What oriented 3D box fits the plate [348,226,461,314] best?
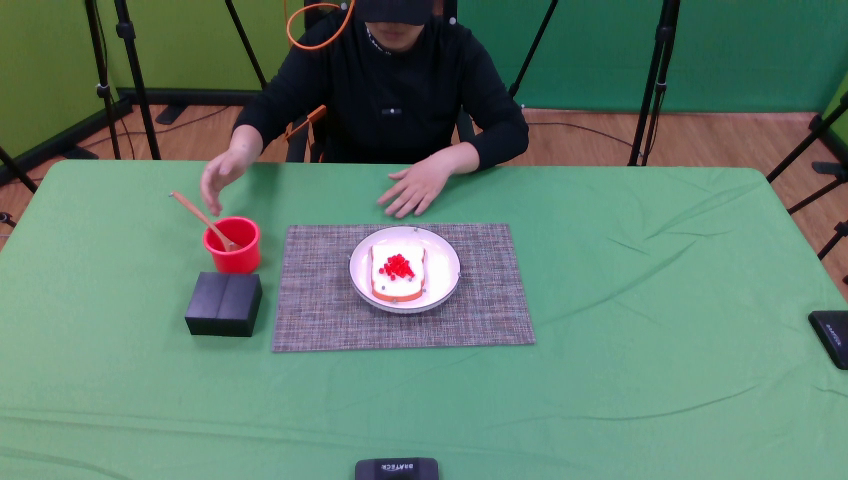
[{"bbox_3d":[-0.035,0.058,1.123,0.209,0.038,0.208,2,46,-2],"label":"plate"}]

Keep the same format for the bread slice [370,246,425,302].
[{"bbox_3d":[-0.048,0.060,1.123,0.105,0.019,0.130,0,46,-3],"label":"bread slice"}]

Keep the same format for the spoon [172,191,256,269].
[{"bbox_3d":[-0.382,-0.019,1.104,0.194,0.021,0.041,50,48,-17],"label":"spoon"}]
